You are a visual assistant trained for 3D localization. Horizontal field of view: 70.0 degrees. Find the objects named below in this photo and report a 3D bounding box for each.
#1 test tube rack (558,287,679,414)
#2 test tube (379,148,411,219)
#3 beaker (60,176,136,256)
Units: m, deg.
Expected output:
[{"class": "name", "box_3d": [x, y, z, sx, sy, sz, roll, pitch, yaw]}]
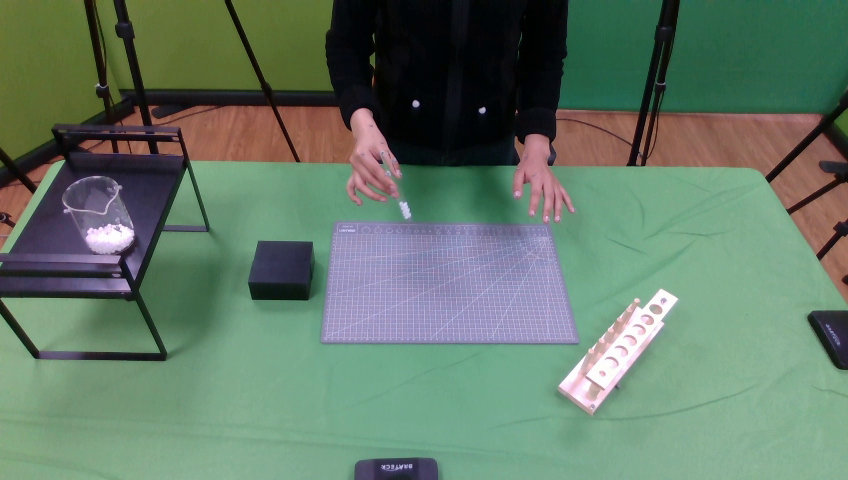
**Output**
[{"class": "test tube rack", "box_3d": [0.326, 0.170, 1.009, 0.066, 0.085, 0.242, 35, 54, 26]}, {"class": "test tube", "box_3d": [-0.048, -0.094, 1.041, 0.017, 0.151, 0.017, -11, 41, 10]}, {"class": "beaker", "box_3d": [-0.470, -0.031, 0.887, 0.074, 0.101, 0.083, -31, 56, -28]}]
